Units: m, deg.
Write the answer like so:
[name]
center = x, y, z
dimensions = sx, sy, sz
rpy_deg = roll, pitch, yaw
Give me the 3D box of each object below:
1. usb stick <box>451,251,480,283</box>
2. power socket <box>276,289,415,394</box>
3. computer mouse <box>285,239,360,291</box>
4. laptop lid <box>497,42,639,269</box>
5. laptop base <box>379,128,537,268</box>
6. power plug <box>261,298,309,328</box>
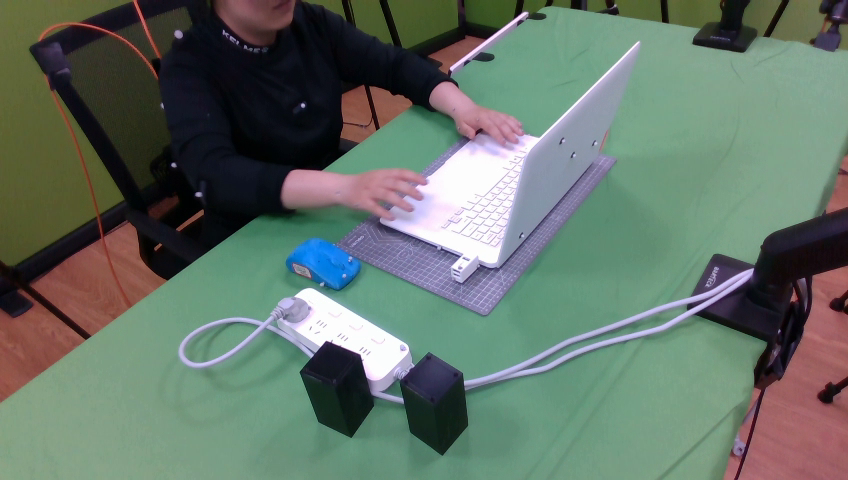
[usb stick]
center = 0.066, 0.036, 0.899
dimensions = 0.021, 0.027, 0.059
rpy_deg = 23, 45, 33
[power socket]
center = -0.114, 0.133, 0.821
dimensions = 0.225, 0.033, 0.072
rpy_deg = 25, 49, 33
[computer mouse]
center = -0.159, 0.036, 0.940
dimensions = 0.116, 0.041, 0.063
rpy_deg = 22, 46, 25
[laptop lid]
center = 0.221, -0.130, 0.912
dimensions = 0.013, 0.242, 0.357
rpy_deg = 31, 51, 21
[laptop base]
center = 0.118, -0.088, 1.059
dimensions = 0.233, 0.023, 0.355
rpy_deg = 19, 47, 32
[power plug]
center = -0.192, 0.107, 0.831
dimensions = 0.073, 0.053, 0.035
rpy_deg = -32, 43, -25
